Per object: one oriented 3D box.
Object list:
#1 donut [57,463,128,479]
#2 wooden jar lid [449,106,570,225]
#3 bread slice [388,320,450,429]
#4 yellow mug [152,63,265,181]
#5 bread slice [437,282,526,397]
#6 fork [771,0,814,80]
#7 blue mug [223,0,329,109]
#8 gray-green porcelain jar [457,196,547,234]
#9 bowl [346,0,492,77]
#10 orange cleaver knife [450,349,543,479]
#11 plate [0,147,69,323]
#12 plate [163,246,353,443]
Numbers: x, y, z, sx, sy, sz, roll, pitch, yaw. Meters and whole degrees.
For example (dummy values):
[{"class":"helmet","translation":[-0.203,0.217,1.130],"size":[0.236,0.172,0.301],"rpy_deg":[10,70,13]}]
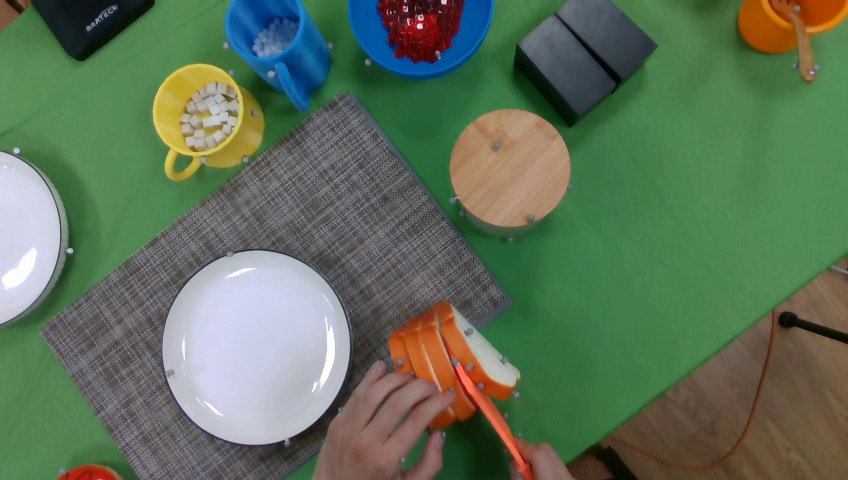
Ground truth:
[{"class":"donut","translation":[-0.366,0.296,0.665],"size":[0.099,0.048,0.099],"rpy_deg":[0,85,3]},{"class":"wooden jar lid","translation":[0.077,-0.067,0.548],"size":[0.108,0.021,0.108],"rpy_deg":[0,86,2]},{"class":"bread slice","translation":[-0.005,0.131,0.606],"size":[0.018,0.135,0.106],"rpy_deg":[-25,81,4]},{"class":"yellow mug","translation":[-0.244,-0.122,0.670],"size":[0.100,0.064,0.131],"rpy_deg":[31,90,7]},{"class":"bread slice","translation":[0.061,0.098,0.601],"size":[0.105,0.131,0.019],"rpy_deg":[45,108,-2]},{"class":"fork","translation":[0.357,-0.209,0.585],"size":[0.028,0.019,0.206],"rpy_deg":[25,45,-1]},{"class":"blue mug","translation":[-0.149,-0.197,0.648],"size":[0.082,0.106,0.116],"rpy_deg":[-18,85,4]},{"class":"gray-green porcelain jar","translation":[0.083,-0.062,0.610],"size":[0.106,0.127,0.105],"rpy_deg":[0,86,5]},{"class":"bowl","translation":[-0.002,-0.240,0.652],"size":[0.151,0.077,0.151],"rpy_deg":[0,87,5]},{"class":"orange cleaver knife","translation":[0.076,0.179,0.586],"size":[0.012,0.076,0.213],"rpy_deg":[-31,111,3]},{"class":"plate","translation":[-0.504,-0.004,0.698],"size":[0.207,0.039,0.207],"rpy_deg":[0,86,5]},{"class":"plate","translation":[-0.177,0.112,0.660],"size":[0.209,0.038,0.208],"rpy_deg":[0,86,5]}]
